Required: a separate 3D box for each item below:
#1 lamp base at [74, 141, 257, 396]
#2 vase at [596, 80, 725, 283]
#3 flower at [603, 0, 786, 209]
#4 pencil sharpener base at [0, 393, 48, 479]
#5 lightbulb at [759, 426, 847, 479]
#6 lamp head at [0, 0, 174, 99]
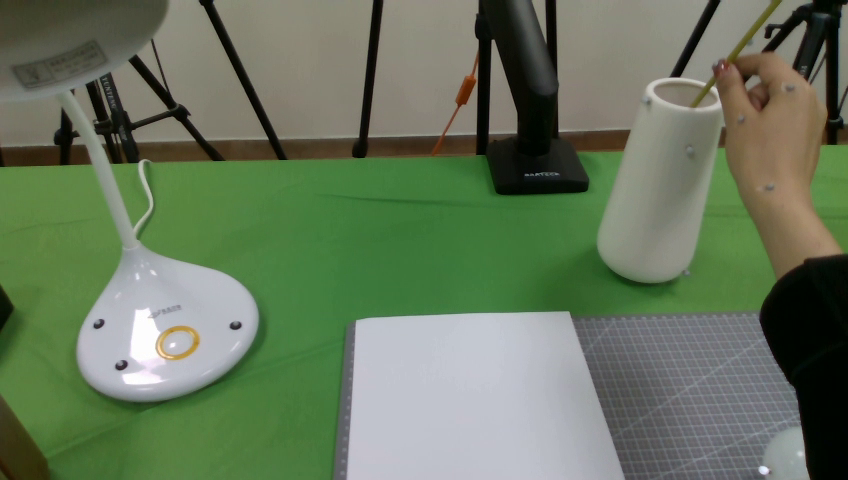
[{"bbox_3d":[-0.247,0.015,0.528,0.161,0.182,0.177,-28,44,-31],"label":"lamp base"},{"bbox_3d":[0.233,-0.053,0.604,0.098,0.202,0.097,-1,38,1],"label":"vase"},{"bbox_3d":[0.232,-0.119,0.510,0.044,0.363,0.038,44,63,12],"label":"flower"},{"bbox_3d":[-0.304,0.157,0.408,0.061,0.108,0.076,-20,43,-23],"label":"pencil sharpener base"},{"bbox_3d":[0.274,0.184,0.423,0.059,0.060,0.106,2,54,2],"label":"lightbulb"},{"bbox_3d":[-0.204,-0.146,0.295,0.112,0.112,0.123,-34,87,-35],"label":"lamp head"}]
